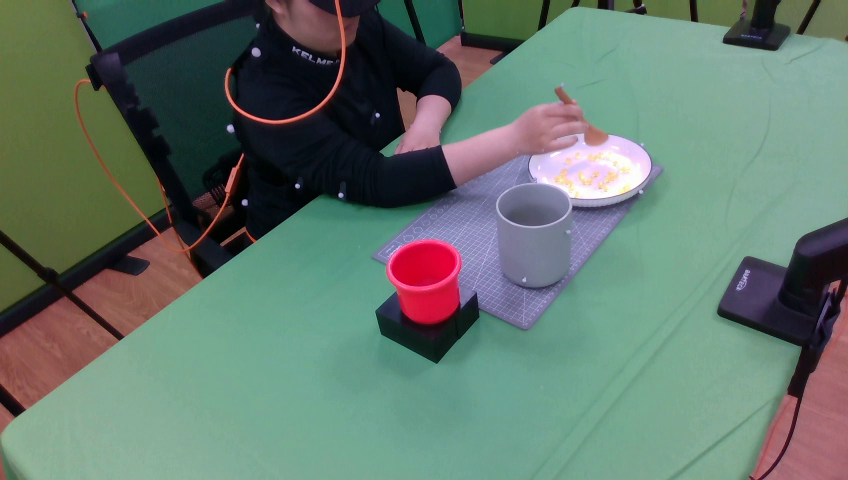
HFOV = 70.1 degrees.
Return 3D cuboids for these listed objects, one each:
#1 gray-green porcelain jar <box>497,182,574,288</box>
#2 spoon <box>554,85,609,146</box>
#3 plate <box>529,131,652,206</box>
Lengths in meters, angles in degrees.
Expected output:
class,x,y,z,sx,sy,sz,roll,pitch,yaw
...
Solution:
class,x,y,z,sx,sy,sz,roll,pitch,yaw
gray-green porcelain jar,0.161,-0.003,0.870,0.106,0.127,0.105,-5,40,5
spoon,0.260,-0.205,1.009,0.041,0.195,0.021,-21,55,30
plate,0.287,-0.121,1.056,0.207,0.039,0.206,-5,40,5
